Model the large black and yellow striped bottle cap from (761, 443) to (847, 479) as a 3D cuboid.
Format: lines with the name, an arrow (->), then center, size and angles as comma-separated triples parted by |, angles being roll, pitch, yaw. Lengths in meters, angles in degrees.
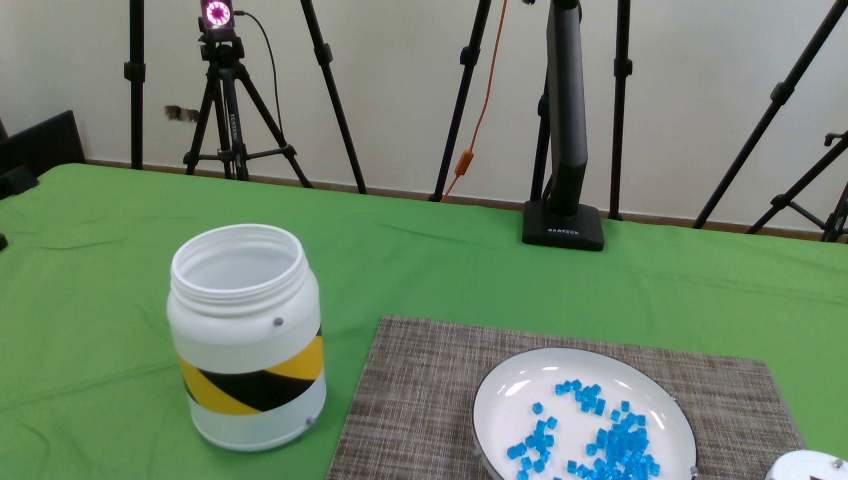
large black and yellow striped bottle cap -> 0.361, 0.231, 0.534 | 0.115, 0.019, 0.114 | 5, 34, -3

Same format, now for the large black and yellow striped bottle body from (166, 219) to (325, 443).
large black and yellow striped bottle body -> -0.165, 0.085, 0.572 | 0.131, 0.185, 0.129 | 2, 33, -1

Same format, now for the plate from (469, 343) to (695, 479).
plate -> 0.145, 0.181, 0.576 | 0.208, 0.039, 0.205 | 2, 33, -1
